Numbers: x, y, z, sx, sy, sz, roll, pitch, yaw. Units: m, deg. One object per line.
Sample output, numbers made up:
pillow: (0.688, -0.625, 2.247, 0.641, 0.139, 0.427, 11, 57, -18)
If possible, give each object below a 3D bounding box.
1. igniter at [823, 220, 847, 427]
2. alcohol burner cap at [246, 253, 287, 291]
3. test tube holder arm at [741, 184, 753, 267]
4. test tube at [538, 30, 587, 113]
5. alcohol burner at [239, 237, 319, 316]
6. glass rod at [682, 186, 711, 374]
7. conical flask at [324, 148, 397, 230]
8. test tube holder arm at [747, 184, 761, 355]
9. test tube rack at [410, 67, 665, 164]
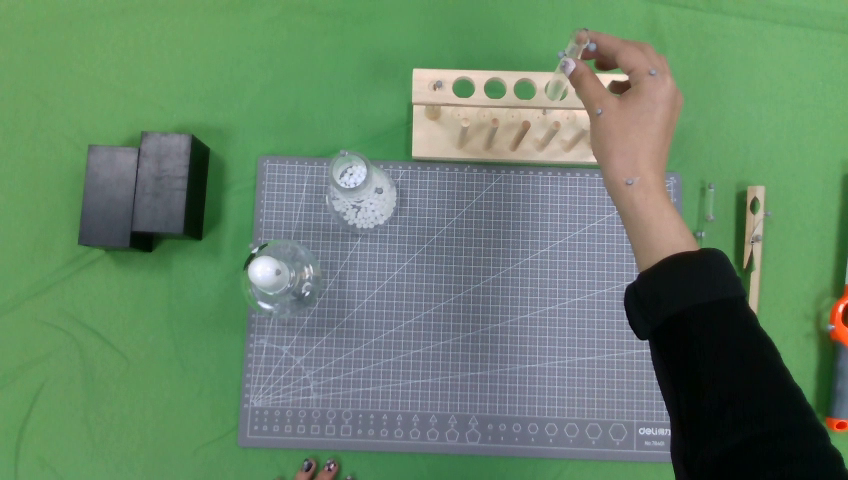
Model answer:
igniter: (0.447, 0.056, 0.627, 0.057, 0.025, 0.276, 11, 84, -9)
alcohol burner cap: (-0.141, 0.027, 0.538, 0.034, 0.048, 0.033, 1, 79, -5)
test tube holder arm: (0.342, -0.015, 0.640, 0.010, 0.015, 0.087, 0, 83, 37)
test tube: (0.121, -0.146, 0.544, 0.017, 0.150, 0.017, 0, 81, 1)
alcohol burner: (-0.141, 0.033, 0.574, 0.078, 0.119, 0.077, 0, 82, 1)
glass rod: (0.286, 0.040, 0.635, 0.008, 0.008, 0.199, 9, 85, 0)
conical flask: (-0.066, -0.054, 0.580, 0.075, 0.122, 0.075, 0, 83, -1)
test tube holder arm: (0.344, 0.030, 0.631, 0.013, 0.015, 0.178, -2, 82, 37)
test tube rack: (0.107, -0.123, 0.613, 0.242, 0.085, 0.066, 2, 83, -1)
